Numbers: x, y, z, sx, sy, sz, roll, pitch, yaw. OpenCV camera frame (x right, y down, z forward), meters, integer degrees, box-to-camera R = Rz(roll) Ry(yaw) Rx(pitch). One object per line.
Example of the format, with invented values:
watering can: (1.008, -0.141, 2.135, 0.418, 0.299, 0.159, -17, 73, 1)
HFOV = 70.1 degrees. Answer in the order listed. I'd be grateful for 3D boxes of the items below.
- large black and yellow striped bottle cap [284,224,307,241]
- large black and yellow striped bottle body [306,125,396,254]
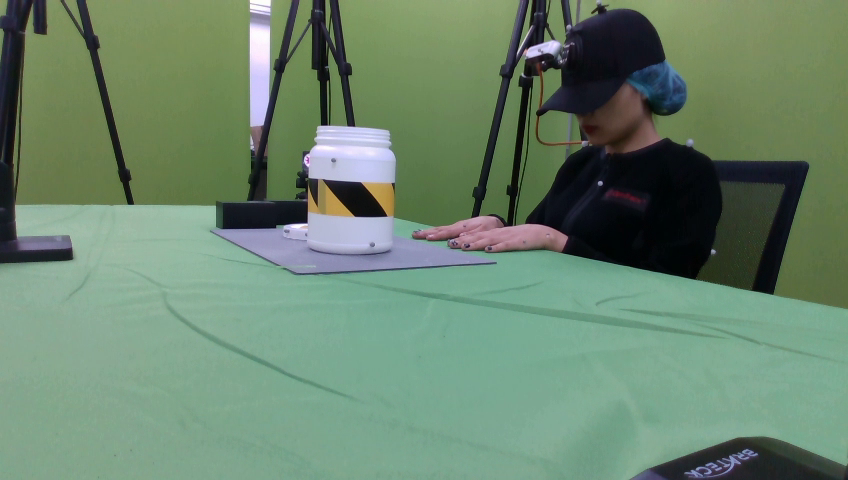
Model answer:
large black and yellow striped bottle cap: (-0.186, -0.014, 1.055, 0.115, 0.019, 0.115, 1, 8, 0)
large black and yellow striped bottle body: (-0.109, -0.077, 0.913, 0.131, 0.184, 0.130, 3, 8, 0)
